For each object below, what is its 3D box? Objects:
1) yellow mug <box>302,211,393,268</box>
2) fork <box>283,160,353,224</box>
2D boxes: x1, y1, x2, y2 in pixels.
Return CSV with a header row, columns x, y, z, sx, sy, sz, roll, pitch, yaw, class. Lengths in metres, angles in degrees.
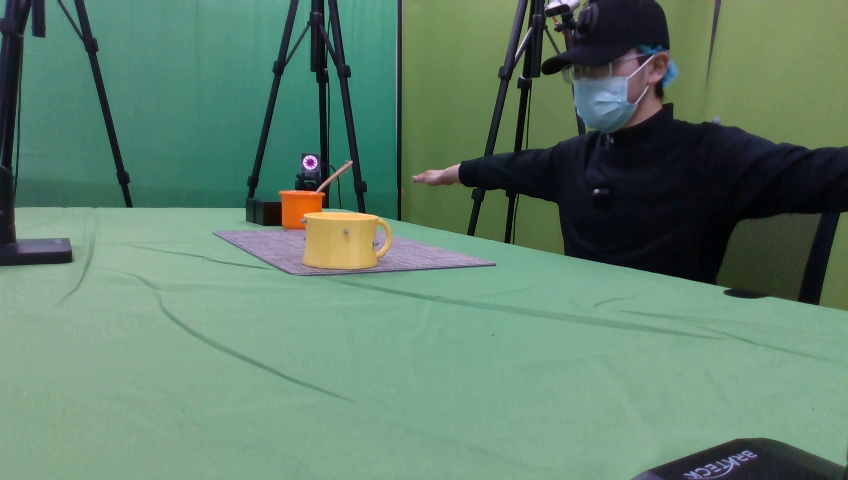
x,y,z,sx,sy,sz,roll,pitch,yaw,class
-0.098,-0.003,0.810,0.131,0.064,0.099,-2,8,-37,yellow mug
-0.214,-0.101,1.245,0.028,0.019,0.207,0,46,54,fork
